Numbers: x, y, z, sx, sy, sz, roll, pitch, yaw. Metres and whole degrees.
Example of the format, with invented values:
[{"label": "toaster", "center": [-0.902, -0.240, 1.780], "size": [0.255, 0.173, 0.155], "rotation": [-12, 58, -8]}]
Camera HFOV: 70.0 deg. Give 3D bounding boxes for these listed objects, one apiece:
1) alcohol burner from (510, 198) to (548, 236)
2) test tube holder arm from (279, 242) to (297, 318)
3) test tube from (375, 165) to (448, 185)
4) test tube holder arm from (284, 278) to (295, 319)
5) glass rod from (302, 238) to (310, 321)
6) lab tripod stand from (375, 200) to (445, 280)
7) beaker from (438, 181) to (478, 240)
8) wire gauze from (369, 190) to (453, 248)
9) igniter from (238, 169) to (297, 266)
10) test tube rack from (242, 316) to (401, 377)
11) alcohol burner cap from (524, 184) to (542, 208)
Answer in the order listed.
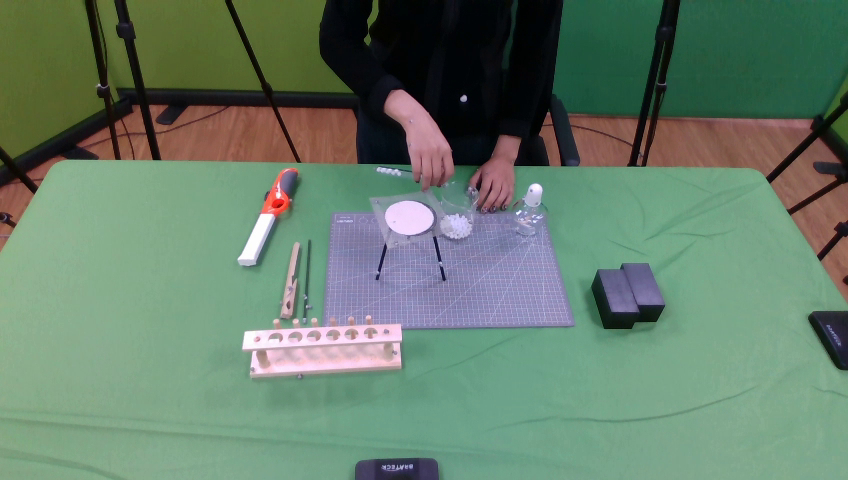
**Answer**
[{"label": "alcohol burner", "center": [0.214, -0.066, 1.213], "size": [0.078, 0.119, 0.077], "rotation": [3, 48, -3]}, {"label": "test tube holder arm", "center": [-0.249, 0.069, 1.114], "size": [0.013, 0.015, 0.177], "rotation": [25, 39, -27]}, {"label": "test tube", "center": [-0.026, -0.127, 1.173], "size": [0.150, 0.017, 0.017], "rotation": [11, 46, 16]}, {"label": "test tube holder arm", "center": [-0.241, 0.103, 1.085], "size": [0.010, 0.015, 0.087], "rotation": [25, 39, -27]}, {"label": "glass rod", "center": [-0.218, 0.069, 1.125], "size": [0.008, 0.008, 0.198], "rotation": [-2, 47, -5]}, {"label": "lab tripod stand", "center": [-0.023, 0.004, 1.114], "size": [0.148, 0.132, 0.147], "rotation": [4, 45, -3]}, {"label": "beaker", "center": [0.066, -0.053, 1.200], "size": [0.074, 0.101, 0.083], "rotation": [-17, 50, -19]}, {"label": "wire gauze", "center": [-0.025, -0.042, 1.064], "size": [0.121, 0.011, 0.124], "rotation": [-11, 48, -17]}, {"label": "igniter", "center": [-0.313, -0.054, 1.224], "size": [0.057, 0.025, 0.275], "rotation": [1, 45, 10]}, {"label": "test tube rack", "center": [-0.160, 0.166, 0.983], "size": [0.242, 0.085, 0.066], "rotation": [-2, 46, -6]}, {"label": "alcohol burner cap", "center": [0.216, -0.089, 1.186], "size": [0.034, 0.048, 0.033], "rotation": [1, 55, -2]}]
